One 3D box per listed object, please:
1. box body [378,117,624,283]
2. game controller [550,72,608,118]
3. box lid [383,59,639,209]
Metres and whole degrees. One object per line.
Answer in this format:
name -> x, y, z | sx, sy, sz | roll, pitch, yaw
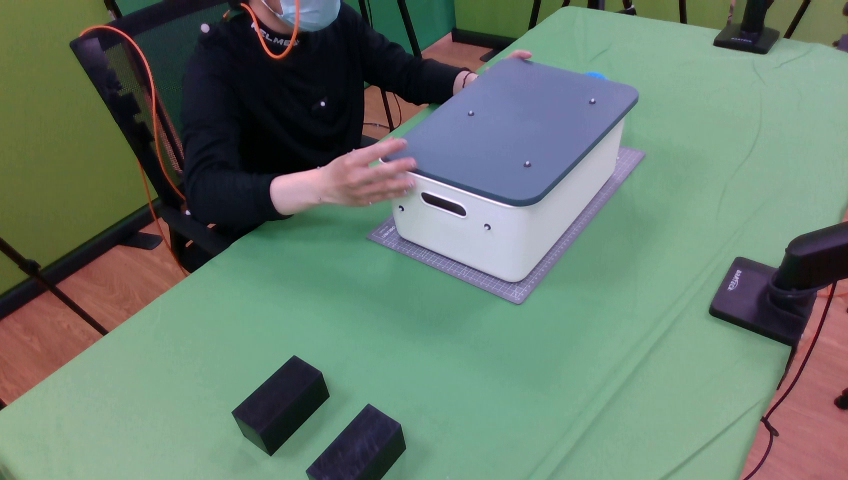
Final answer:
box body -> 0.137, -0.121, 0.978 | 0.252, 0.161, 0.365 | 22, 48, 30
game controller -> 0.326, -0.306, 1.260 | 0.096, 0.052, 0.155 | 14, 45, 17
box lid -> 0.142, -0.181, 0.928 | 0.261, 0.015, 0.372 | 24, 48, 29
